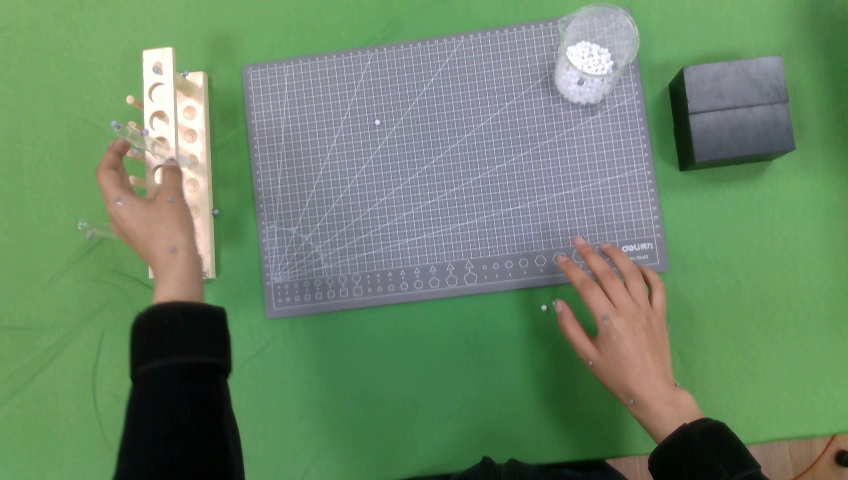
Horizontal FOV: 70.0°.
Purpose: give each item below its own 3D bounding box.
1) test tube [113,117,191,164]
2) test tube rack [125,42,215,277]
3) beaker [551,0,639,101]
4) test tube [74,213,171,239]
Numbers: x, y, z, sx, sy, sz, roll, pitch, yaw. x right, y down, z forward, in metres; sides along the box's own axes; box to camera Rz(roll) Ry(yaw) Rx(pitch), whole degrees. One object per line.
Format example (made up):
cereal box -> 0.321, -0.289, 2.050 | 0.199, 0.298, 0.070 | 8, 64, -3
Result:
test tube -> -0.273, -0.099, 0.620 | 0.017, 0.150, 0.017 | 0, 86, 0
test tube rack -> -0.286, -0.083, 0.670 | 0.067, 0.085, 0.242 | -4, 86, 5
beaker -> 0.170, -0.194, 0.630 | 0.084, 0.100, 0.074 | 31, 88, 8
test tube -> -0.304, -0.011, 0.622 | 0.017, 0.151, 0.017 | 0, 85, 7
